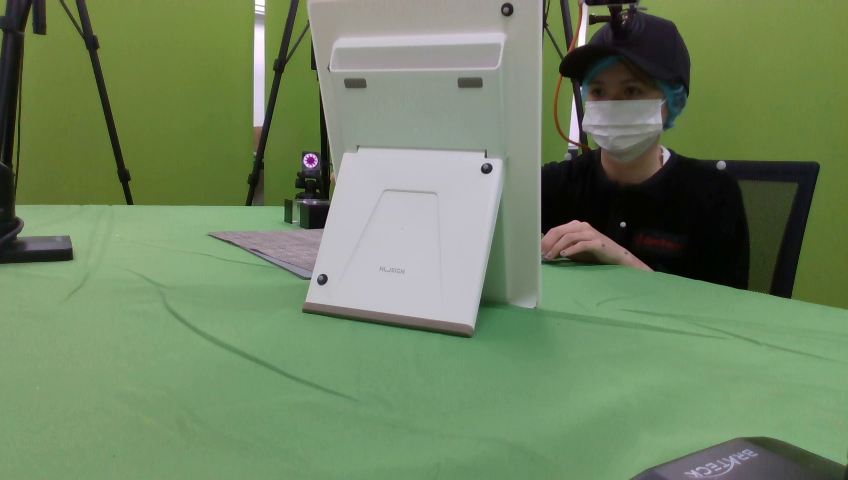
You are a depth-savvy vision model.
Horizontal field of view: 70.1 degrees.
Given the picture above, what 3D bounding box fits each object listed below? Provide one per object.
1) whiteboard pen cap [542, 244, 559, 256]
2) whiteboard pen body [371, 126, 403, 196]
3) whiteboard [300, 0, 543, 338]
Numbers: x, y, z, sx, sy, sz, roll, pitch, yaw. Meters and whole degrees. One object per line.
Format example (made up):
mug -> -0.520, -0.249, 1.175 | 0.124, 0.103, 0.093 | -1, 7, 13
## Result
whiteboard pen cap -> 0.186, 0.015, 0.908 | 0.033, 0.018, 0.018 | -4, 5, 23
whiteboard pen body -> -0.043, -0.089, 0.674 | 0.017, 0.017, 0.140 | 4, 39, 8
whiteboard -> -0.020, -0.050, 0.523 | 0.216, 0.305, 0.144 | 6, 27, 22
